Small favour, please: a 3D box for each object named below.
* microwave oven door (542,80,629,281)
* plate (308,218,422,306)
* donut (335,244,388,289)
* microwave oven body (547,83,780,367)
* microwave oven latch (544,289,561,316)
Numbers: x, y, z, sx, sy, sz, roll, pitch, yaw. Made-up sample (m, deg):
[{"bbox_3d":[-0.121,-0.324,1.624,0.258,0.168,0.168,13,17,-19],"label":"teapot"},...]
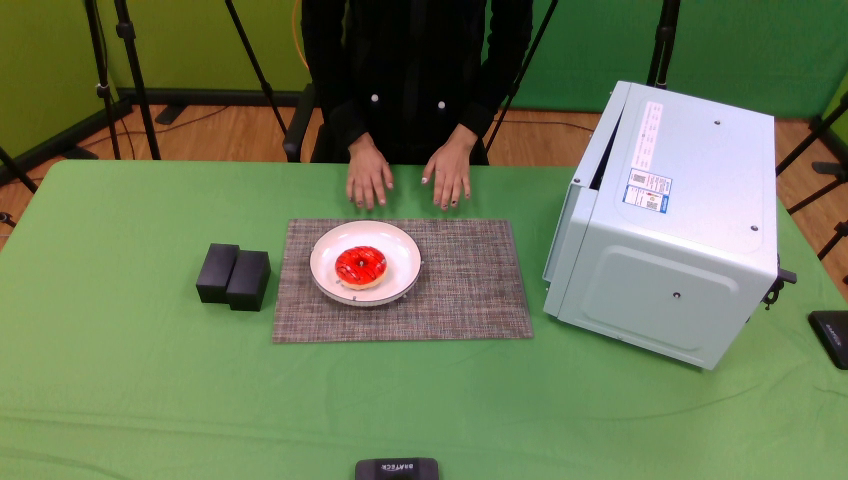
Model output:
[{"bbox_3d":[0.315,-0.119,1.158,0.039,0.245,0.354,20,48,15],"label":"microwave oven door"},{"bbox_3d":[-0.110,0.044,1.132,0.209,0.038,0.208,2,47,-2],"label":"plate"},{"bbox_3d":[-0.114,0.047,1.113,0.099,0.048,0.098,1,45,-1],"label":"donut"},{"bbox_3d":[0.445,-0.041,1.100,0.325,0.261,0.440,17,47,13],"label":"microwave oven body"},{"bbox_3d":[0.237,0.098,1.087,0.030,0.029,0.079,18,47,14],"label":"microwave oven latch"}]
